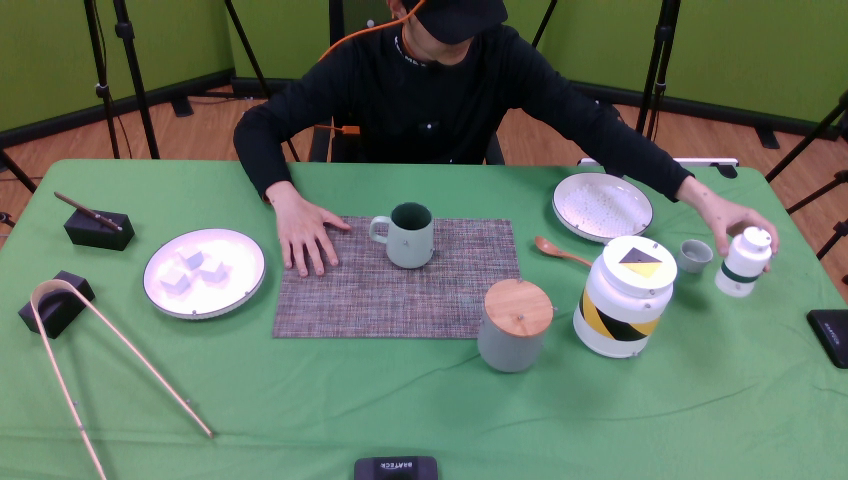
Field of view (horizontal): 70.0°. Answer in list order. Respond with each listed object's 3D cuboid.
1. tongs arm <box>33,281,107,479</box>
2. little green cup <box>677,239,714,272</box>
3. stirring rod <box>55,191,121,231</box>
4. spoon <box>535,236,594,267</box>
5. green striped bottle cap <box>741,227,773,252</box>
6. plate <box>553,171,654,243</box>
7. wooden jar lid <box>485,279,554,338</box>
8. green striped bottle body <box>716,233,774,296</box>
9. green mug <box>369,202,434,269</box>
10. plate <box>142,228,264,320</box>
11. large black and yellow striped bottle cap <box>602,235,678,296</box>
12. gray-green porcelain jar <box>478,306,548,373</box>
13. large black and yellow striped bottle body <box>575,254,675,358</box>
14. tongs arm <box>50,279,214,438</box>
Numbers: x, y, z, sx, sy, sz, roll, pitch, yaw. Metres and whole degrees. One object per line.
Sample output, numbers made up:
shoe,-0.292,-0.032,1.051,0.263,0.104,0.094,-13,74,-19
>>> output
tongs arm,-0.517,0.214,0.910,0.051,0.026,0.383,-28,63,-27
little green cup,0.530,0.033,1.190,0.061,0.039,0.061,2,47,-2
stirring rod,-0.632,-0.055,1.138,0.175,0.014,0.006,24,50,19
spoon,0.303,0.040,1.178,0.193,0.022,0.041,25,28,19
green striped bottle cap,0.544,-0.001,0.988,0.044,0.020,0.044,-1,44,1
plate,0.373,-0.066,1.275,0.209,0.038,0.208,2,46,-2
wooden jar lid,0.147,0.108,0.940,0.108,0.021,0.107,4,47,-4
green striped bottle body,0.545,0.035,1.026,0.063,0.120,0.063,0,45,0
green mug,-0.043,-0.010,1.140,0.125,0.105,0.092,8,47,4
plate,-0.394,0.064,1.095,0.208,0.039,0.206,2,46,-2
large black and yellow striped bottle cap,0.340,0.037,0.955,0.115,0.019,0.114,2,47,-1
gray-green porcelain jar,0.144,0.148,0.989,0.106,0.127,0.105,2,50,-2
large black and yellow striped bottle body,0.335,0.096,1.014,0.131,0.185,0.130,2,46,-2
tongs arm,-0.459,0.178,0.949,0.386,0.028,0.028,37,60,17
